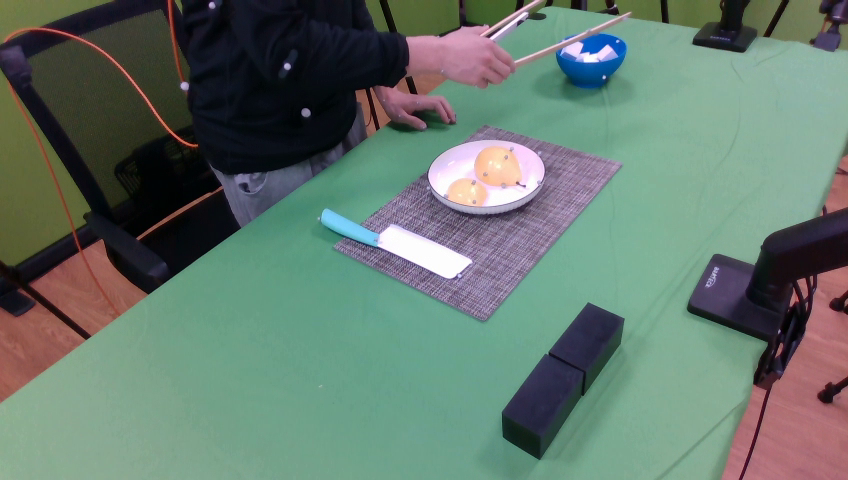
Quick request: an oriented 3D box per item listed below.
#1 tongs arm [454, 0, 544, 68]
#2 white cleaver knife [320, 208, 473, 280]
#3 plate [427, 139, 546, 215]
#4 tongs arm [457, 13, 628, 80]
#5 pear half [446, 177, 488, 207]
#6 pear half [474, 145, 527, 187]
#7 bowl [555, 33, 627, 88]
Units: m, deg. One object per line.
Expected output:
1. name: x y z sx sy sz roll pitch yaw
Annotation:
1. tongs arm: 0.194 -0.414 1.099 0.389 0.028 0.027 -37 7 -23
2. white cleaver knife: -0.053 0.001 0.978 0.284 0.021 0.066 23 40 26
3. plate: 0.109 -0.107 1.059 0.207 0.039 0.206 -4 41 4
4. tongs arm: 0.225 -0.363 1.099 0.386 0.051 0.026 -30 1 -23
5. pear half: 0.073 -0.086 1.032 0.070 0.031 0.087 -20 36 -9
6. pear half: 0.140 -0.129 1.059 0.076 0.056 0.109 -37 52 -24
7. bowl: 0.360 -0.384 1.318 0.151 0.077 0.150 -4 41 4
